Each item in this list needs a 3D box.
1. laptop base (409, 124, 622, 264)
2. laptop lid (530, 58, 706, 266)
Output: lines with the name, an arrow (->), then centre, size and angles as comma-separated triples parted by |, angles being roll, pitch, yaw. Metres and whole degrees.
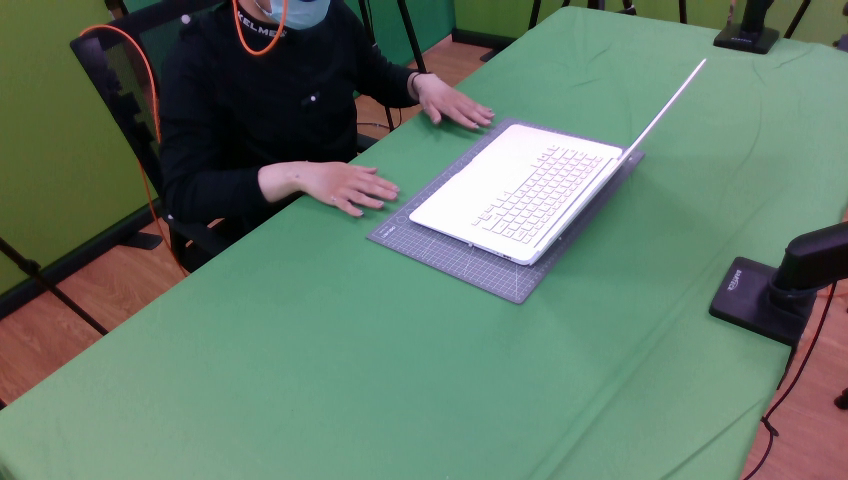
laptop base -> 0.168, -0.095, 1.057 | 0.233, 0.023, 0.355 | 20, 47, 32
laptop lid -> 0.293, -0.118, 0.905 | 0.013, 0.241, 0.357 | 40, 53, 9
